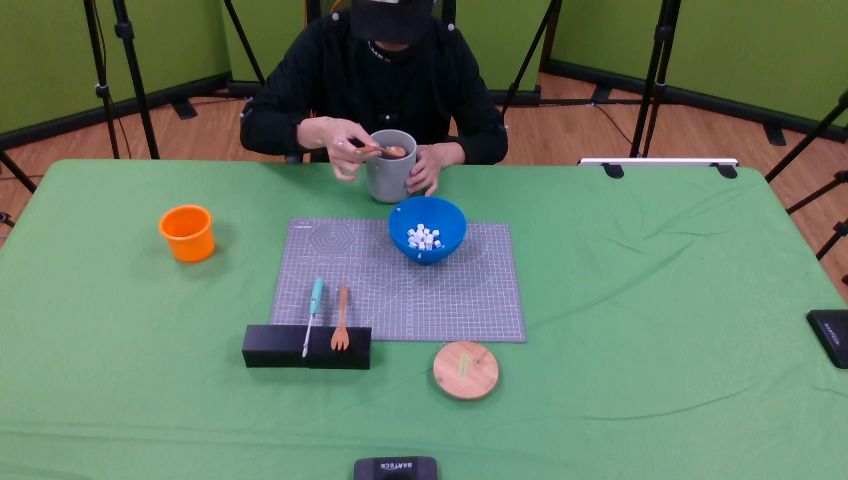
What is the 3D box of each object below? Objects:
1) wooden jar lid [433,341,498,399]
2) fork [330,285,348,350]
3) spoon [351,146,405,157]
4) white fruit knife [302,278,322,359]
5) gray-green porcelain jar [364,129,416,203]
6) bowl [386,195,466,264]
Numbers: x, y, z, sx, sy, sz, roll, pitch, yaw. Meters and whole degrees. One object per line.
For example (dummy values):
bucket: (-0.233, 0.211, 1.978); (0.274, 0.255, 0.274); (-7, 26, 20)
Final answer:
wooden jar lid: (0.068, 0.216, 0.997); (0.108, 0.021, 0.107); (1, 46, -1)
fork: (-0.140, 0.127, 1.021); (0.028, 0.019, 0.206); (-5, 28, -2)
spoon: (-0.090, -0.174, 1.173); (0.041, 0.021, 0.194); (26, 15, 19)
white fruit knife: (-0.189, 0.126, 1.020); (0.016, 0.027, 0.206); (-1, 33, -2)
gray-green porcelain jar: (-0.072, -0.149, 1.264); (0.106, 0.127, 0.105); (2, 46, -2)
bowl: (0.003, -0.007, 1.162); (0.151, 0.077, 0.150); (2, 46, -2)
